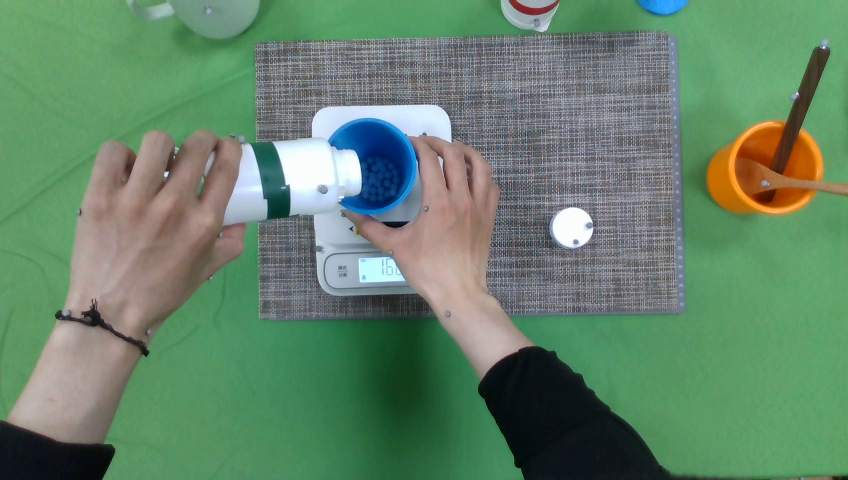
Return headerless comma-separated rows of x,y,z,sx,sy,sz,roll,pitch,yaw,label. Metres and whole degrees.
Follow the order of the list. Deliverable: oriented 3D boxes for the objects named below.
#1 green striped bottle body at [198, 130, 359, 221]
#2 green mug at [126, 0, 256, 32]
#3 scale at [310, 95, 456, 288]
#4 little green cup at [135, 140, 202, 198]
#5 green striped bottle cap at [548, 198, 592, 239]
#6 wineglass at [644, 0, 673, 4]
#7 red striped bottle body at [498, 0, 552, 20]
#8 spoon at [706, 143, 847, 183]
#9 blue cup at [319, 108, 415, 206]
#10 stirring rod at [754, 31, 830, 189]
-0.114,-0.054,0.486,0.119,0.063,0.063,-10,89,-20,green striped bottle body
-0.242,-0.263,0.615,0.125,0.105,0.092,-24,89,1,green mug
-0.044,-0.051,0.641,0.149,0.031,0.200,-2,90,1,scale
-0.268,-0.073,0.645,0.061,0.038,0.061,0,88,-1,little green cup
0.155,-0.023,0.646,0.044,0.020,0.044,0,87,2,green striped bottle cap
0.252,-0.290,0.572,0.074,0.172,0.073,0,89,2,wineglass
0.109,-0.271,0.601,0.063,0.120,0.063,0,89,1,red striped bottle body
0.370,-0.064,0.580,0.022,0.192,0.041,6,98,-42,spoon
-0.050,-0.072,0.576,0.092,0.100,0.092,0,90,0,blue cup
0.349,-0.116,0.581,0.014,0.178,0.006,8,49,15,stirring rod
